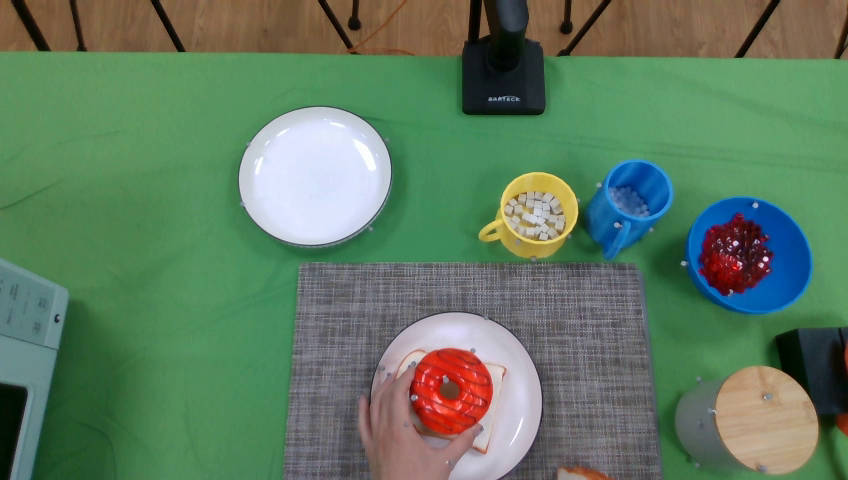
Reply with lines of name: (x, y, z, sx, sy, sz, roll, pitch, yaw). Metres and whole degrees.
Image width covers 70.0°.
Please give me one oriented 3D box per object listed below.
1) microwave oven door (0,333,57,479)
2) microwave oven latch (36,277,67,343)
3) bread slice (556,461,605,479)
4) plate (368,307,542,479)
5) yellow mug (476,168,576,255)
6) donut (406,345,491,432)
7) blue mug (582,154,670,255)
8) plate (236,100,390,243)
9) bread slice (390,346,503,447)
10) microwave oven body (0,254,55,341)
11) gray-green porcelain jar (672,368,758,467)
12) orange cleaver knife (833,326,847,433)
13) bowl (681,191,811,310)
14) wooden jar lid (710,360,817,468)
microwave oven door: (-0.476, 0.262, 0.587, 0.039, 0.245, 0.353, 1, 72, 1)
microwave oven latch: (-0.468, 0.086, 0.751, 0.030, 0.029, 0.078, 4, 73, 1)
bread slice: (0.168, 0.296, 0.652, 0.018, 0.135, 0.106, 9, 70, -5)
plate: (0.037, 0.186, 0.735, 0.209, 0.038, 0.208, 0, 73, -1)
yellow mug: (0.129, -0.031, 0.794, 0.131, 0.064, 0.099, -21, 72, -5)
donut: (0.028, 0.169, 0.695, 0.099, 0.048, 0.098, 0, 73, 0)
blue mug: (0.251, -0.035, 0.775, 0.082, 0.106, 0.116, 19, 73, 7)
plate: (-0.148, -0.091, 0.829, 0.208, 0.039, 0.206, 0, 72, 0)
bread slice: (0.024, 0.185, 0.738, 0.131, 0.019, 0.104, 13, 72, 0)
microwave oven body: (-0.621, 0.220, 0.606, 0.326, 0.261, 0.439, 1, 72, 0)
gray-green porcelain jar: (0.350, 0.200, 0.686, 0.106, 0.127, 0.105, 0, 72, 0)
orange cleaver knife: (0.504, 0.205, 0.707, 0.012, 0.077, 0.212, -2, 101, 1)
bowl: (0.393, 0.022, 0.770, 0.151, 0.077, 0.150, 0, 72, 1)
wooden jar lid: (0.348, 0.180, 0.627, 0.108, 0.021, 0.108, 1, 73, -2)
